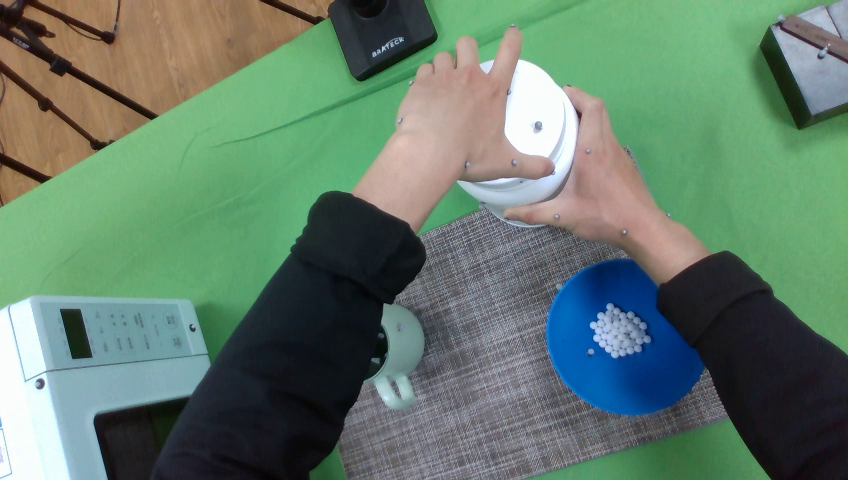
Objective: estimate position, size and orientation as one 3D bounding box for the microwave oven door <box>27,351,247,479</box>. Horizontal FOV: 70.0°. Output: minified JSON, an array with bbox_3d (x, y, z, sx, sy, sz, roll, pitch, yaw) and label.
[{"bbox_3d":[-0.271,0.301,0.653,0.039,0.245,0.354,-25,78,14],"label":"microwave oven door"}]

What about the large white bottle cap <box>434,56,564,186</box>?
[{"bbox_3d":[0.064,-0.104,0.531,0.114,0.018,0.114,-3,82,19],"label":"large white bottle cap"}]

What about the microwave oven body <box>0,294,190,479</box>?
[{"bbox_3d":[-0.413,0.322,0.703,0.326,0.261,0.439,-24,79,14],"label":"microwave oven body"}]

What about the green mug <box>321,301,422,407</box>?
[{"bbox_3d":[-0.050,0.129,0.683,0.092,0.105,0.124,-32,77,12],"label":"green mug"}]

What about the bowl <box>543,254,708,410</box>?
[{"bbox_3d":[0.202,0.091,0.618,0.151,0.077,0.151,-2,85,19],"label":"bowl"}]

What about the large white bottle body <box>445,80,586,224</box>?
[{"bbox_3d":[0.093,-0.093,0.615,0.130,0.186,0.130,-2,82,18],"label":"large white bottle body"}]

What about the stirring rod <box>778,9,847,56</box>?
[{"bbox_3d":[0.411,-0.168,0.558,0.175,0.006,0.014,36,131,17],"label":"stirring rod"}]

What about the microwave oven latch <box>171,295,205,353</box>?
[{"bbox_3d":[-0.315,0.111,0.791,0.030,0.029,0.079,-25,79,14],"label":"microwave oven latch"}]
